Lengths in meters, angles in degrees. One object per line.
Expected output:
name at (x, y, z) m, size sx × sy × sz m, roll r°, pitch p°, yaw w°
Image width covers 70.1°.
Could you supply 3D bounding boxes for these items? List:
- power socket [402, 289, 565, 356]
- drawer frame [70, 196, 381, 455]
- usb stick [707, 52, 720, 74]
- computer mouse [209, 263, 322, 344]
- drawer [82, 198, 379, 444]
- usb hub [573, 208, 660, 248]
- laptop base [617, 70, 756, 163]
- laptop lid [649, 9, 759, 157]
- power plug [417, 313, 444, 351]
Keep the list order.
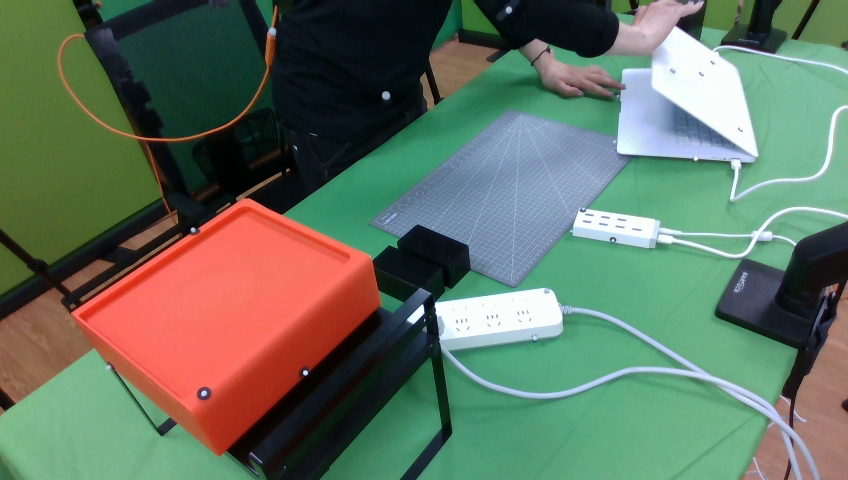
power socket at (0.081, 0.112, 0.822) m, size 0.227 × 0.033 × 0.072 m, roll -7°, pitch 40°, yaw 0°
drawer frame at (-0.186, 0.068, 0.597) m, size 0.200 × 0.083 × 0.214 m, roll 23°, pitch 49°, yaw 30°
usb stick at (0.629, -0.383, 1.313) m, size 0.021 × 0.027 × 0.059 m, roll 2°, pitch 45°, yaw 16°
computer mouse at (-0.165, 0.062, 0.624) m, size 0.116 × 0.041 × 0.063 m, roll 23°, pitch 44°, yaw 27°
drawer at (-0.185, 0.065, 0.600) m, size 0.193 × 0.073 × 0.212 m, roll 24°, pitch 50°, yaw 31°
usb hub at (0.302, -0.019, 0.950) m, size 0.124 × 0.025 × 0.049 m, roll 11°, pitch 43°, yaw 20°
laptop base at (0.509, -0.254, 1.202) m, size 0.234 × 0.023 × 0.353 m, roll 4°, pitch 41°, yaw 16°
laptop lid at (0.522, -0.311, 1.146) m, size 0.242 × 0.013 × 0.356 m, roll 32°, pitch 43°, yaw -8°
power plug at (0.007, 0.127, 0.786) m, size 0.035 × 0.053 × 0.072 m, roll 0°, pitch 43°, yaw 8°
